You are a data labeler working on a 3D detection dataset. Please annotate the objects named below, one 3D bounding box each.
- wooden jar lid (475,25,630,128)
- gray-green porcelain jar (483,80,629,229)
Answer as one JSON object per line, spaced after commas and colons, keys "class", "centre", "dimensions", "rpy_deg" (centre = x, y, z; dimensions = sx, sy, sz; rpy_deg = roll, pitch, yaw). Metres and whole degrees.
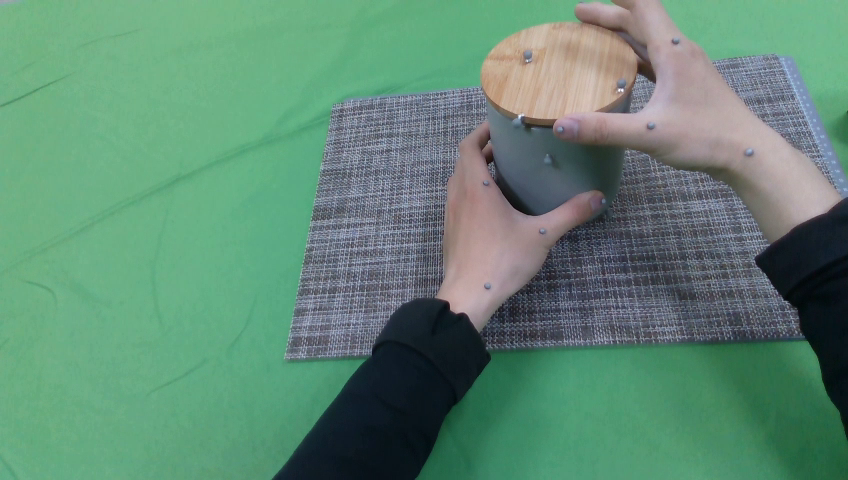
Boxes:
{"class": "wooden jar lid", "centre": [0.091, -0.115, 0.434], "dimensions": [0.108, 0.021, 0.107], "rpy_deg": [-5, 53, 7]}
{"class": "gray-green porcelain jar", "centre": [0.104, -0.078, 0.485], "dimensions": [0.106, 0.128, 0.105], "rpy_deg": [-5, 54, 8]}
